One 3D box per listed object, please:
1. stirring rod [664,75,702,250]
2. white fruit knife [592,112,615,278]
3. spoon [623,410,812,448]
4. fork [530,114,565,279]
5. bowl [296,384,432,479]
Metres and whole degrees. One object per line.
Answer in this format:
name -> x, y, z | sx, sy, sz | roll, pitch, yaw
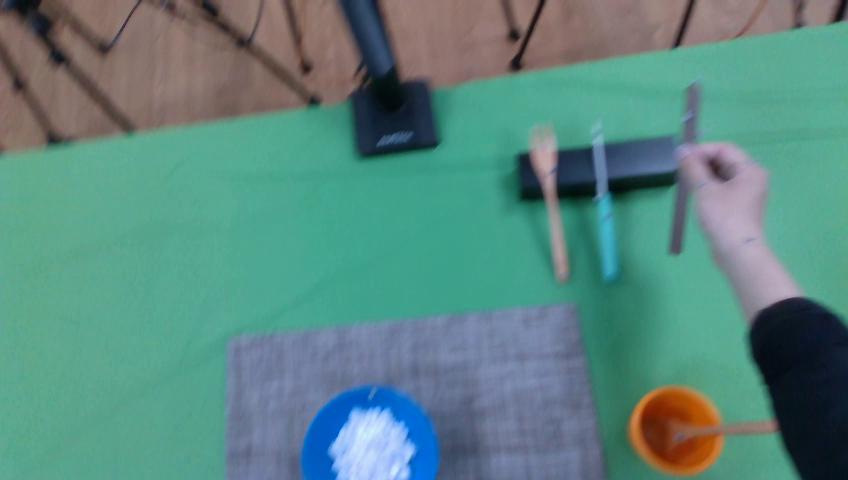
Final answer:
stirring rod -> 0.260, -0.074, 0.609 | 0.014, 0.006, 0.177 | 11, 111, 30
white fruit knife -> 0.220, -0.056, 0.753 | 0.016, 0.027, 0.207 | -5, 88, 2
spoon -> 0.296, 0.193, 0.630 | 0.022, 0.193, 0.041 | 11, 67, -37
fork -> 0.158, -0.053, 0.760 | 0.028, 0.018, 0.207 | -8, 91, 1
bowl -> -0.061, 0.244, 0.689 | 0.151, 0.077, 0.150 | -2, 72, 6
